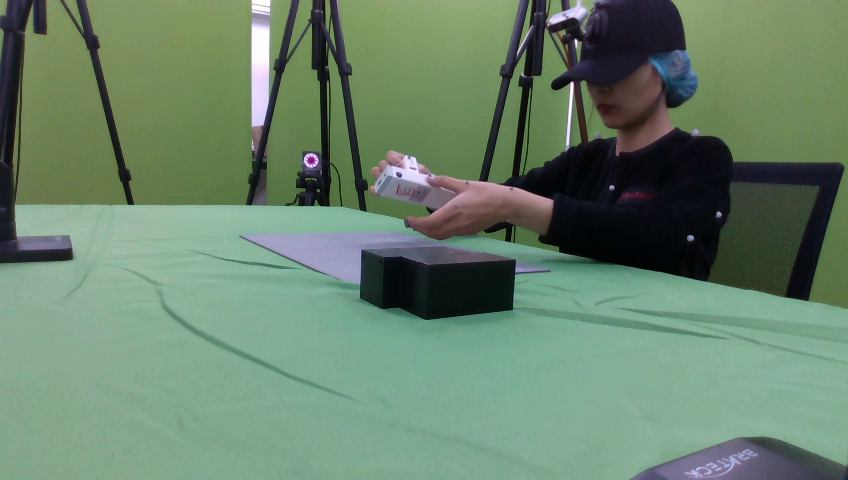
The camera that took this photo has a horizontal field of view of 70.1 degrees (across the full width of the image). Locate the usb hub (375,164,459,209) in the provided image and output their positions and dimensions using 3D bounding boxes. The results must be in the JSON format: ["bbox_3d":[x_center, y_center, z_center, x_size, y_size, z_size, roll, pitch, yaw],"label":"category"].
[{"bbox_3d":[-0.010,-0.083,0.946,0.126,0.025,0.049,11,-39,-26],"label":"usb hub"}]

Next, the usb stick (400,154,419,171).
[{"bbox_3d":[-0.022,-0.106,0.961,0.021,0.059,0.027,12,-37,-26],"label":"usb stick"}]
